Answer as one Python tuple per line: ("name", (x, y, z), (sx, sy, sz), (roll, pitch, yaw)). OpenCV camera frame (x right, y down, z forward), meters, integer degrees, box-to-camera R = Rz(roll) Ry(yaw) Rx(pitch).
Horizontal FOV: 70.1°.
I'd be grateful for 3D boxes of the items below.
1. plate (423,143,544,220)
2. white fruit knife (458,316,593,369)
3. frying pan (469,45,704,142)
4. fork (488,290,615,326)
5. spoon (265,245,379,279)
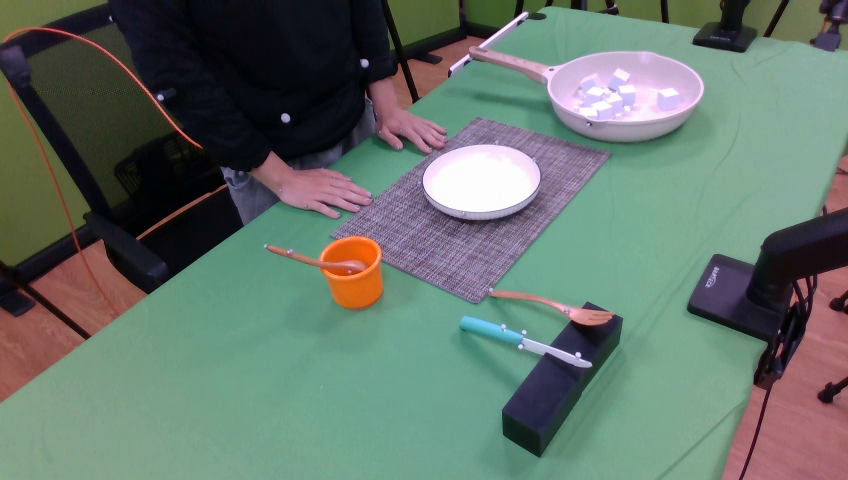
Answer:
("plate", (0.102, -0.097, 1.048), (0.207, 0.039, 0.206), (-4, 40, 4))
("white fruit knife", (0.120, 0.127, 0.757), (0.205, 0.027, 0.016), (12, 45, 43))
("frying pan", (0.307, -0.326, 1.239), (0.485, 0.103, 0.307), (26, 49, 22))
("fork", (0.161, 0.086, 0.800), (0.205, 0.019, 0.028), (12, 48, 48))
("spoon", (-0.137, 0.031, 0.846), (0.195, 0.021, 0.041), (13, 16, -45))
